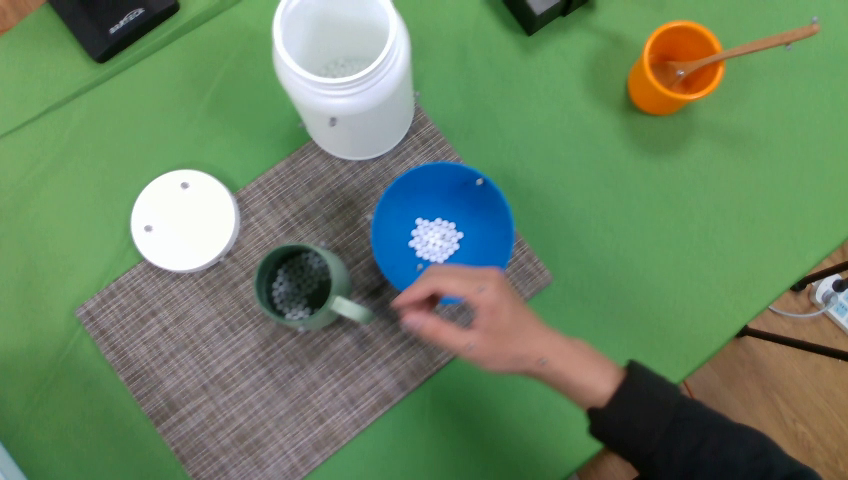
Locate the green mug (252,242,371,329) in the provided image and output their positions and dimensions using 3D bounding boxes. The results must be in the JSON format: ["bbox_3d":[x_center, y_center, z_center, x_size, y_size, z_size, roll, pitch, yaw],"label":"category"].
[{"bbox_3d":[-0.113,0.054,0.635,0.125,0.105,0.092,25,82,1],"label":"green mug"}]

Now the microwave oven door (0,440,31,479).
[{"bbox_3d":[-0.366,0.312,0.512,0.039,0.244,0.355,-39,86,-6],"label":"microwave oven door"}]

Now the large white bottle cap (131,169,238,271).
[{"bbox_3d":[-0.269,-0.022,0.681,0.115,0.018,0.114,0,82,-2],"label":"large white bottle cap"}]

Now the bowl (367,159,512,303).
[{"bbox_3d":[0.016,-0.005,0.660,0.151,0.077,0.151,0,84,-2],"label":"bowl"}]

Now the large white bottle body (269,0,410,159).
[{"bbox_3d":[-0.082,-0.171,0.622,0.130,0.185,0.130,0,80,0],"label":"large white bottle body"}]

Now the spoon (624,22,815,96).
[{"bbox_3d":[0.315,-0.199,0.663,0.022,0.193,0.041,11,75,-45],"label":"spoon"}]
